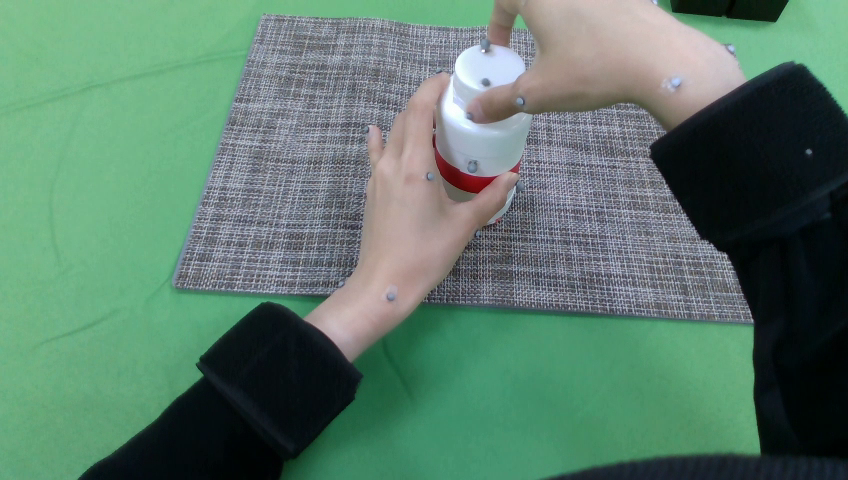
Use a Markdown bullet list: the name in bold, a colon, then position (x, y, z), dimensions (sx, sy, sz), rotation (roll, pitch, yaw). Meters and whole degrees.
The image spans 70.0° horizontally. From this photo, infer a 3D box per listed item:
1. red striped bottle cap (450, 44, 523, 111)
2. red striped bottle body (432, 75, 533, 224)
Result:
- **red striped bottle cap**: position (0.038, -0.100, 0.370), dimensions (0.044, 0.018, 0.044), rotation (0, 55, 0)
- **red striped bottle body**: position (0.038, -0.069, 0.415), dimensions (0.063, 0.120, 0.062), rotation (1, 56, -1)
